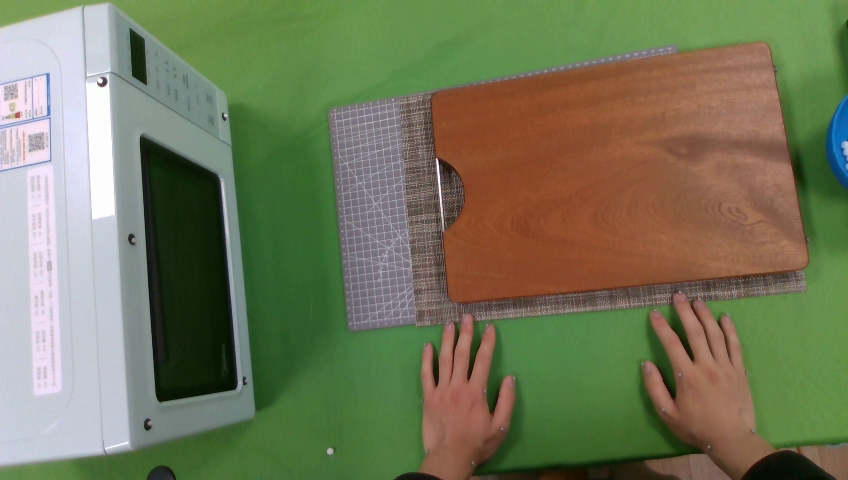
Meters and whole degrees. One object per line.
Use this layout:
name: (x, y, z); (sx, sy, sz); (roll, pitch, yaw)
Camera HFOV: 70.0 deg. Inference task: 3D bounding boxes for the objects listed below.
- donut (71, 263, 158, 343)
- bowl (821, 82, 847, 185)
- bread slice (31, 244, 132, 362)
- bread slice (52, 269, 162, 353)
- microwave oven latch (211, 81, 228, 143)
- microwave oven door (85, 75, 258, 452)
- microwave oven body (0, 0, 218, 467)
donut: (-0.369, 0.075, 0.722); (0.099, 0.048, 0.099); (0, 98, -2)
bowl: (0.499, -0.107, 0.650); (0.151, 0.077, 0.151); (-1, 82, 11)
bread slice: (-0.385, 0.080, 0.675); (0.134, 0.018, 0.106); (-24, 81, 20)
bread slice: (-0.396, 0.087, 0.755); (0.131, 0.019, 0.105); (2, 89, 1)
microwave oven latch: (-0.281, -0.168, 0.803); (0.030, 0.029, 0.079); (-10, 81, 8)
microwave oven door: (-0.270, 0.031, 0.670); (0.039, 0.245, 0.354); (-10, 80, 9)
microwave oven body: (-0.418, 0.016, 0.704); (0.326, 0.261, 0.440); (-10, 81, 8)
